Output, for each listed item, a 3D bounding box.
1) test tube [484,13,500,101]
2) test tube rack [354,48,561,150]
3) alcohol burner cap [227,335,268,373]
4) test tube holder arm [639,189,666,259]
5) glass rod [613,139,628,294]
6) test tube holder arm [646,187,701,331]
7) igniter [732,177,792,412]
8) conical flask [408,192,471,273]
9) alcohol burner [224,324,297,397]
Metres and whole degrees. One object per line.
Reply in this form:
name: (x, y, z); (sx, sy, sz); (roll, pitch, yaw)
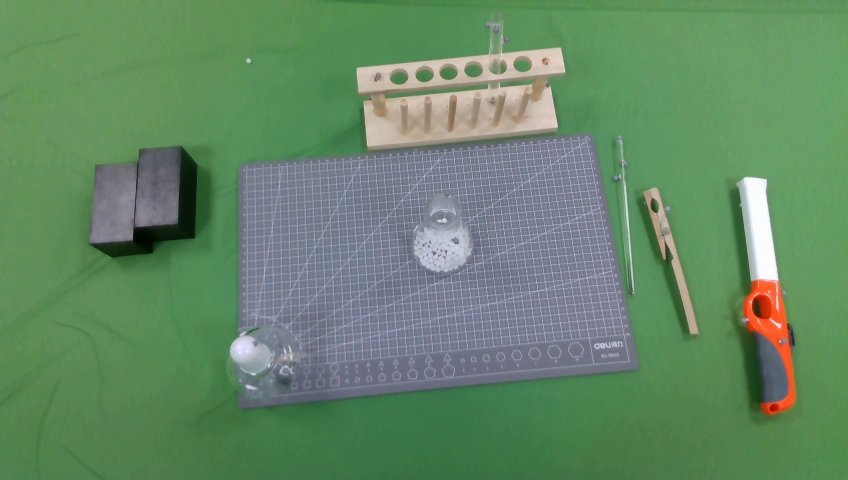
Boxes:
test tube: (0.078, -0.207, 0.703); (0.017, 0.151, 0.017); (-1, 70, 5)
test tube rack: (0.041, -0.171, 0.744); (0.242, 0.085, 0.066); (-6, 72, -1)
alcohol burner cap: (-0.177, 0.110, 0.600); (0.034, 0.048, 0.033); (0, 63, 1)
test tube holder arm: (0.278, -0.019, 0.730); (0.010, 0.015, 0.087); (-24, 70, 32)
glass rod: (0.240, -0.032, 0.738); (0.008, 0.008, 0.198); (1, 75, 1)
test tube holder arm: (0.292, 0.021, 0.714); (0.013, 0.015, 0.177); (-25, 69, 31)
igniter: (0.388, 0.057, 0.699); (0.057, 0.025, 0.275); (5, 72, -8)
conical flask: (0.017, -0.012, 0.671); (0.075, 0.122, 0.075); (0, 72, 1)
alcohol burner: (-0.175, 0.123, 0.633); (0.078, 0.120, 0.077); (-1, 71, 2)
